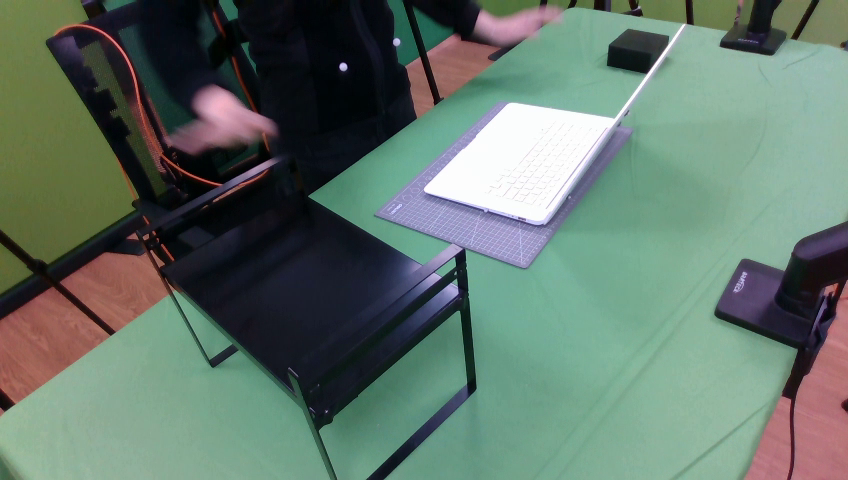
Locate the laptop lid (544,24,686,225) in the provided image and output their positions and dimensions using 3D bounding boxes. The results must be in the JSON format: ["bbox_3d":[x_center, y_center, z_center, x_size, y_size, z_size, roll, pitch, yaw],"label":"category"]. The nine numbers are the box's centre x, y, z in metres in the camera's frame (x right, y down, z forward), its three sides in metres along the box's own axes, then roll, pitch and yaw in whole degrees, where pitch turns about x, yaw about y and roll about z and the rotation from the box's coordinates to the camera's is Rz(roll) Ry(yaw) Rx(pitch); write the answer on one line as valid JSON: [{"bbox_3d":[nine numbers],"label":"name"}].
[{"bbox_3d":[0.315,-0.191,0.987,0.013,0.241,0.357,35,51,9],"label":"laptop lid"}]

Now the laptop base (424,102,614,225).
[{"bbox_3d":[0.188,-0.156,1.131,0.234,0.023,0.355,16,46,30],"label":"laptop base"}]
